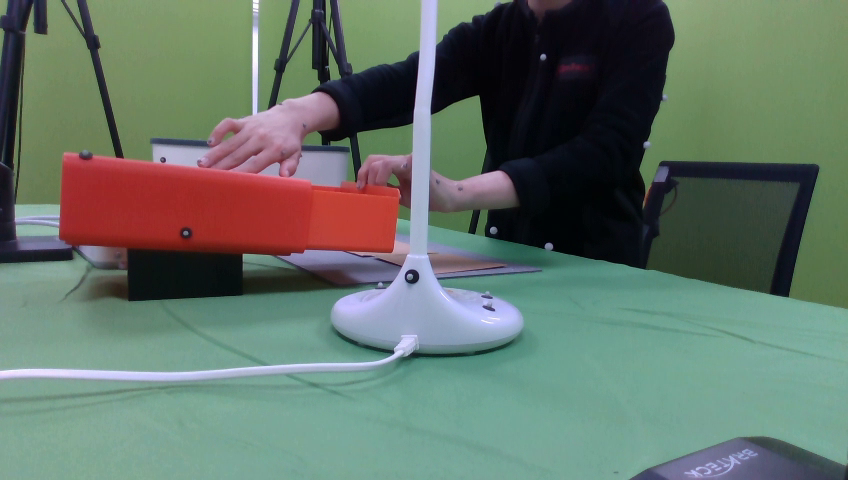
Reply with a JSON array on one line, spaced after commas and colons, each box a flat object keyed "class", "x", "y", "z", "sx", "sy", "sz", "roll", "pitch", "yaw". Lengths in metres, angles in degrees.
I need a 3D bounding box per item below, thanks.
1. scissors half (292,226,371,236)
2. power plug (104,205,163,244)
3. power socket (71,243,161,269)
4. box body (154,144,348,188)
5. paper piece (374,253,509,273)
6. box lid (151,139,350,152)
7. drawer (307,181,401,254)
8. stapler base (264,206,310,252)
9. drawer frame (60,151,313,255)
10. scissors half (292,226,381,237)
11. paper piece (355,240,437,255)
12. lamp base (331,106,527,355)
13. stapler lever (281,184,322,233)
[{"class": "scissors half", "x": -0.166, "y": -0.015, "z": 1.094, "sx": 0.040, "sy": 0.013, "sz": 0.176, "roll": 3, "pitch": 7, "yaw": 39}, {"class": "power plug", "x": -0.390, "y": -0.021, "z": 0.815, "sx": 0.073, "sy": 0.052, "sz": 0.035, "roll": -1, "pitch": 7, "yaw": -27}, {"class": "power socket", "x": -0.409, "y": 0.004, "z": 0.793, "sx": 0.072, "sy": 0.032, "sz": 0.225, "roll": -2, "pitch": 8, "yaw": -38}, {"class": "box body", "x": -0.357, "y": -0.119, "z": 1.264, "sx": 0.365, "sy": 0.160, "sz": 0.253, "roll": 0, "pitch": 7, "yaw": -18}, {"class": "paper piece", "x": 0.021, "y": 0.029, "z": 0.829, "sx": 0.139, "sy": 0.008, "sz": 0.135, "roll": -1, "pitch": 11, "yaw": -37}, {"class": "box lid", "x": -0.352, "y": -0.191, "z": 1.255, "sx": 0.373, "sy": 0.015, "sz": 0.262, "roll": 0, "pitch": 8, "yaw": -18}, {"class": "drawer", "x": -0.160, "y": -0.035, "z": 0.675, "sx": 0.213, "sy": 0.073, "sz": 0.193, "roll": 2, "pitch": 7, "yaw": -27}, {"class": "stapler base", "x": -0.143, "y": -0.020, "z": 0.664, "sx": 0.041, "sy": 0.024, "sz": 0.130, "roll": 29, "pitch": 10, "yaw": -12}, {"class": "drawer frame", "x": -0.244, "y": -0.039, "z": 0.630, "sx": 0.215, "sy": 0.082, "sz": 0.200, "roll": 4, "pitch": 6, "yaw": -26}, {"class": "scissors half", "x": -0.153, "y": -0.015, "z": 1.079, "sx": 0.176, "sy": 0.013, "sz": 0.040, "roll": -7, "pitch": 2, "yaw": -33}, {"class": "paper piece", "x": -0.068, "y": 0.011, "z": 0.936, "sx": 0.136, "sy": 0.004, "sz": 0.134, "roll": -2, "pitch": 9, "yaw": -33}, {"class": "lamp base", "x": 0.006, "y": -0.012, "z": 0.478, "sx": 0.161, "sy": 0.180, "sz": 0.179, "roll": 2, "pitch": 10, "yaw": 2}, {"class": "stapler lever", "x": -0.132, "y": -0.036, "z": 0.661, "sx": 0.027, "sy": 0.040, "sz": 0.118, "roll": 29, "pitch": 5, "yaw": -12}]
